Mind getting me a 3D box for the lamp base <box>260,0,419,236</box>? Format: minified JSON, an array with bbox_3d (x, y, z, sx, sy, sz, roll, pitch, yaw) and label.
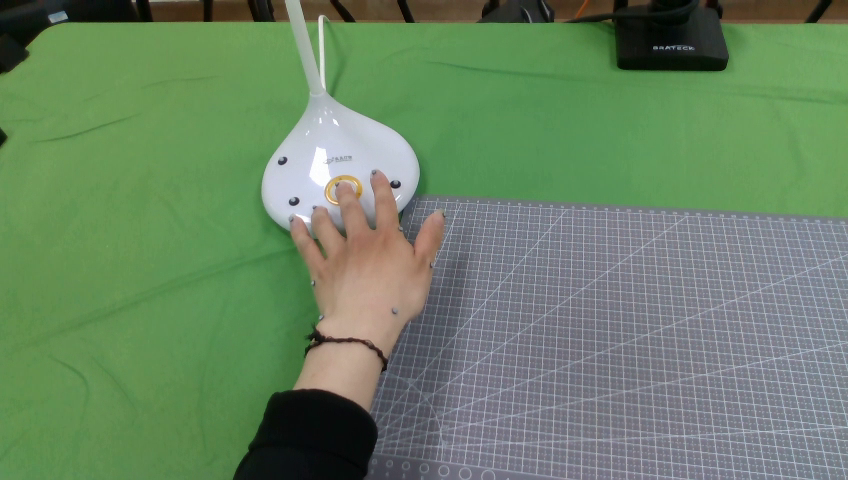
[{"bbox_3d":[-0.098,-0.124,0.559,0.161,0.182,0.177,-19,48,-9],"label":"lamp base"}]
